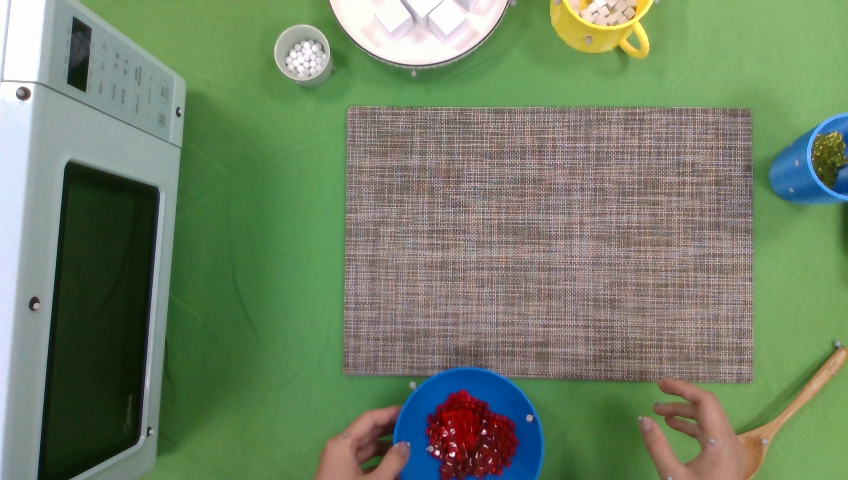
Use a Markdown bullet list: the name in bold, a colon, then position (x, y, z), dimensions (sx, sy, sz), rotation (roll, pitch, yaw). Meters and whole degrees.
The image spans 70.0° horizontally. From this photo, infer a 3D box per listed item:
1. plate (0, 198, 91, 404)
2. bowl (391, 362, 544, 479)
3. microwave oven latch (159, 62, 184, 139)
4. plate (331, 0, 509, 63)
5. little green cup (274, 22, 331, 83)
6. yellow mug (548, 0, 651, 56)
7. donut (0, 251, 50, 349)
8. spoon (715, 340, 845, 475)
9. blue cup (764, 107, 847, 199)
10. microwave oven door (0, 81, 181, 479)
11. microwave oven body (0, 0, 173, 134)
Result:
- **plate**: position (-0.437, 0.061, 0.617), dimensions (0.209, 0.038, 0.209), rotation (0, 90, 1)
- **bowl**: position (0.042, 0.199, 0.635), dimensions (0.151, 0.077, 0.151), rotation (0, 86, -1)
- **microwave oven latch**: position (-0.282, -0.152, 0.662), dimensions (0.030, 0.029, 0.079), rotation (5, 89, 2)
- **plate**: position (-0.004, -0.296, 0.674), dimensions (0.207, 0.039, 0.207), rotation (0, 88, 3)
- **little green cup**: position (-0.132, -0.206, 0.674), dimensions (0.061, 0.038, 0.061), rotation (0, 89, 1)
- **yellow mug**: position (0.198, -0.253, 0.651), dimensions (0.100, 0.064, 0.130), rotation (-36, 88, 0)
- **donut**: position (-0.424, 0.059, 0.603), dimensions (0.099, 0.048, 0.099), rotation (0, 93, 0)
- **spoon**: position (0.387, 0.178, 0.652), dimensions (0.194, 0.022, 0.041), rotation (-44, 76, 0)
- **blue cup**: position (0.403, -0.080, 0.619), dimensions (0.092, 0.100, 0.092), rotation (0, 86, 1)
- **microwave oven door**: position (-0.304, 0.063, 0.555), dimensions (0.039, 0.244, 0.355), rotation (4, 88, 3)
- **microwave oven body**: position (-0.447, 0.010, 0.567), dimensions (0.326, 0.260, 0.441), rotation (4, 89, 2)
